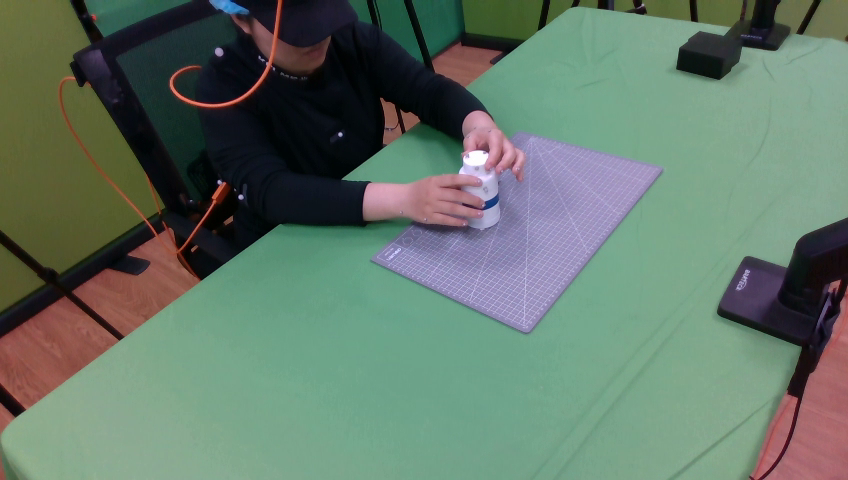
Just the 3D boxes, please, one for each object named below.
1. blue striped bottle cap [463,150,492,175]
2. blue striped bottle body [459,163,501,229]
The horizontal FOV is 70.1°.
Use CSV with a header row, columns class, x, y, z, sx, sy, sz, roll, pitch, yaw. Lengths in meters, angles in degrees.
class,x,y,z,sx,sy,sz,roll,pitch,yaw
blue striped bottle cap,0.084,-0.122,0.949,0.044,0.021,0.044,-5,39,5
blue striped bottle body,0.091,-0.082,0.982,0.063,0.121,0.063,-6,40,5
